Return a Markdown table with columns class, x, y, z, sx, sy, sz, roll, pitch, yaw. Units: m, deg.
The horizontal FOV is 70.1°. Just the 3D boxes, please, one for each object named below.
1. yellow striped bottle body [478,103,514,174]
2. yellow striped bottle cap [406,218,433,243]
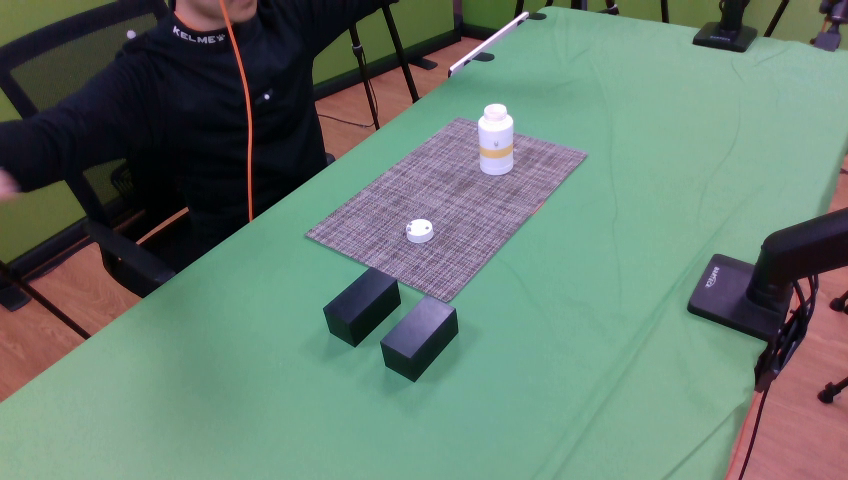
| class | x | y | z | sx | sy | sz | roll | pitch | yaw |
| --- | --- | --- | --- | --- | --- | --- | --- | --- | --- |
| yellow striped bottle body | 0.129 | -0.183 | 1.080 | 0.063 | 0.121 | 0.062 | -4 | 41 | 4 |
| yellow striped bottle cap | -0.007 | -0.016 | 0.987 | 0.044 | 0.019 | 0.044 | -4 | 43 | 4 |
